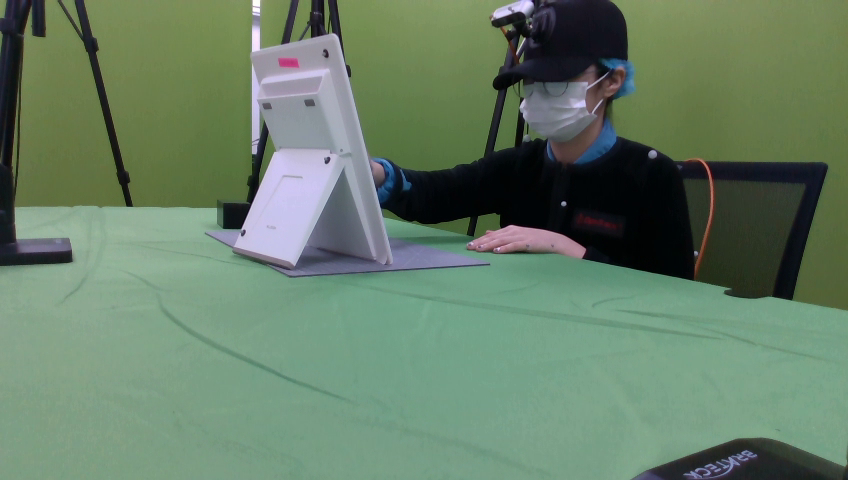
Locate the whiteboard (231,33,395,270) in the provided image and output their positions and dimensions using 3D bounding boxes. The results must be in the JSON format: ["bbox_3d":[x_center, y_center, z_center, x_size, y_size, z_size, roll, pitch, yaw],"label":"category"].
[{"bbox_3d":[-0.193,-0.094,0.805,0.144,0.305,0.216,-29,25,-35],"label":"whiteboard"}]

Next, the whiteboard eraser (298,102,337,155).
[{"bbox_3d":[-0.149,-0.153,0.839,0.019,0.041,0.101,-28,-7,-37],"label":"whiteboard eraser"}]
